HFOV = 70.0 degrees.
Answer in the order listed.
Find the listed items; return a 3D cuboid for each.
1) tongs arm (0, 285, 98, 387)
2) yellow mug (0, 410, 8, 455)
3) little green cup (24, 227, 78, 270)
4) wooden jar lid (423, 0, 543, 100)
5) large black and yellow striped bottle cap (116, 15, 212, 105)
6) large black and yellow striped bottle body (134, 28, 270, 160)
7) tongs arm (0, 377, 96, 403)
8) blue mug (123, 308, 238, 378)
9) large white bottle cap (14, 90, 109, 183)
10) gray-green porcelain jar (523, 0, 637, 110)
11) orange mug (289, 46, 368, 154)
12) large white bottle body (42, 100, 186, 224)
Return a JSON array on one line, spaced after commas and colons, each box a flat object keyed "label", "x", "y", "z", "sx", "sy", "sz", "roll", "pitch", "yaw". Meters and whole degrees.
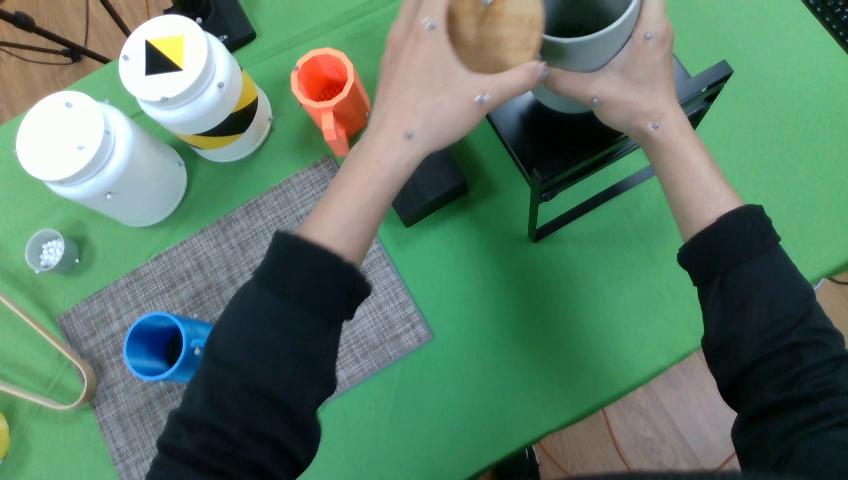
[{"label": "tongs arm", "x": -0.601, "y": 0.078, "z": 0.849, "sx": 0.386, "sy": 0.028, "sz": 0.028, "roll": 35, "pitch": 75, "yaw": 7}, {"label": "yellow mug", "x": -0.631, "y": 0.283, "z": 0.809, "sx": 0.100, "sy": 0.064, "sz": 0.130, "roll": 7, "pitch": 79, "yaw": 9}, {"label": "little green cup", "x": -0.534, "y": 0.015, "z": 0.871, "sx": 0.061, "sy": 0.039, "sz": 0.061, "roll": -1, "pitch": 78, "yaw": 7}, {"label": "wooden jar lid", "x": 0.046, "y": -0.163, "z": 0.469, "sx": 0.107, "sy": 0.021, "sz": 0.108, "roll": 6, "pitch": 100, "yaw": 40}, {"label": "large black and yellow striped bottle cap", "x": -0.315, "y": -0.218, "z": 0.732, "sx": 0.115, "sy": 0.019, "sz": 0.114, "roll": -2, "pitch": 77, "yaw": 6}, {"label": "large black and yellow striped bottle body", "x": -0.301, "y": -0.198, "z": 0.813, "sx": 0.130, "sy": 0.185, "sz": 0.130, "roll": -2, "pitch": 76, "yaw": 8}, {"label": "tongs arm", "x": -0.639, "y": 0.152, "z": 0.834, "sx": 0.384, "sy": 0.026, "sz": 0.050, "roll": 21, "pitch": 77, "yaw": 5}, {"label": "blue mug", "x": -0.299, "y": 0.132, "z": 0.773, "sx": 0.116, "sy": 0.106, "sz": 0.082, "roll": -6, "pitch": 76, "yaw": 6}, {"label": "large white bottle cap", "x": -0.434, "y": -0.124, "z": 0.725, "sx": 0.114, "sy": 0.018, "sz": 0.114, "roll": -2, "pitch": 77, "yaw": 8}, {"label": "gray-green porcelain jar", "x": 0.135, "y": -0.186, "z": 0.544, "sx": 0.105, "sy": 0.127, "sz": 0.105, "roll": -5, "pitch": 71, "yaw": 15}, {"label": "orange mug", "x": -0.128, "y": -0.186, "z": 0.831, "sx": 0.083, "sy": 0.101, "sz": 0.125, "roll": -8, "pitch": 72, "yaw": 6}, {"label": "large white bottle body", "x": -0.422, "y": -0.105, "z": 0.807, "sx": 0.130, "sy": 0.185, "sz": 0.130, "roll": -2, "pitch": 76, "yaw": 8}]
